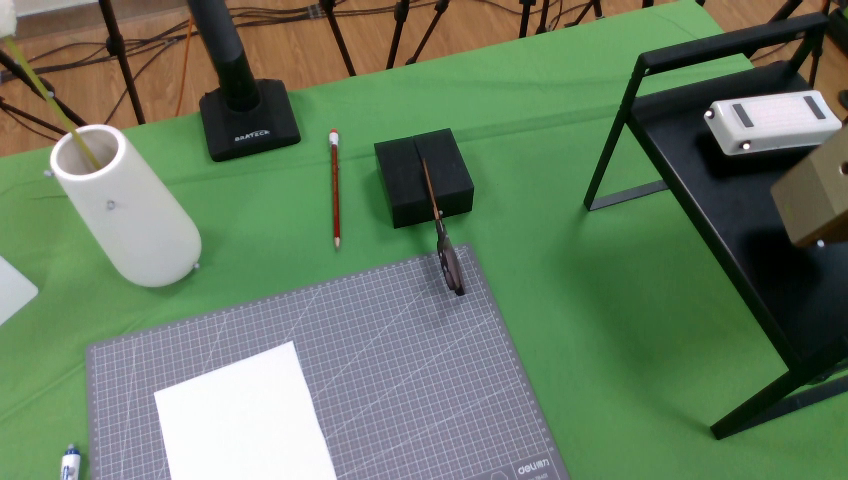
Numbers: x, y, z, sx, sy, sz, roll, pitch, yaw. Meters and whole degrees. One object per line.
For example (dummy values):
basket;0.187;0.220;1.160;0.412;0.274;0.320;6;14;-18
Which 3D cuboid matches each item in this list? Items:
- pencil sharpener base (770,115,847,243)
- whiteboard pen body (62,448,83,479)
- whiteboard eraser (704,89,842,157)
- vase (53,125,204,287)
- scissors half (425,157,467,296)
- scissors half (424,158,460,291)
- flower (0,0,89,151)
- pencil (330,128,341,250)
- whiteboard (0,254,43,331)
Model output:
pencil sharpener base;0.340;-0.048;0.471;0.077;0.107;0.061;-5;66;-8
whiteboard pen body;-0.338;0.267;0.570;0.017;0.017;0.139;-9;57;-5
whiteboard eraser;0.334;-0.111;0.583;0.113;0.042;0.055;-7;60;-5
vase;-0.310;-0.031;0.647;0.098;0.201;0.097;0;58;1
scissors half;0.023;-0.018;0.713;0.013;0.040;0.174;-18;79;15
scissors half;0.017;-0.024;0.695;0.013;0.040;0.173;-17;61;10
flower;-0.321;-0.083;0.582;0.044;0.365;0.038;-22;43;-9
pencil;-0.114;-0.070;0.783;0.012;0.012;0.192;-5;60;-3
whiteboard;-0.598;0.010;0.593;0.142;0.309;0.216;24;60;36
